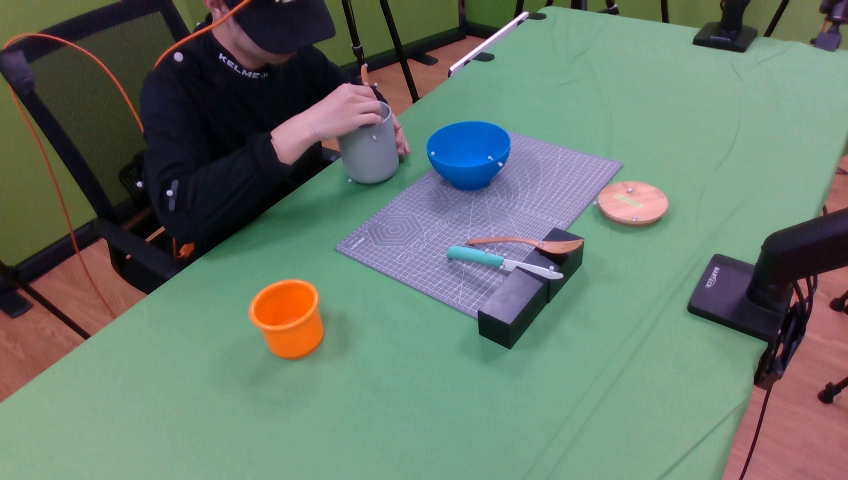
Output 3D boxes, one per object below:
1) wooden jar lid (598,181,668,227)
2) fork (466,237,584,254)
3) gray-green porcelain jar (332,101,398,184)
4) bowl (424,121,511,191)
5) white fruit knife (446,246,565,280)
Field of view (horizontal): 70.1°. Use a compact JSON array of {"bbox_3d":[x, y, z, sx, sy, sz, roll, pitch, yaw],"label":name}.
[{"bbox_3d":[0.340,-0.057,0.988,0.108,0.021,0.108,-5,41,5],"label":"wooden jar lid"},{"bbox_3d":[0.142,0.005,0.894,0.205,0.019,0.028,4,43,41],"label":"fork"},{"bbox_3d":[-0.105,-0.174,1.108,0.106,0.127,0.105,-4,40,4],"label":"gray-green porcelain jar"},{"bbox_3d":[0.081,-0.141,1.074,0.151,0.077,0.150,-4,41,4],"label":"bowl"},{"bbox_3d":[0.111,0.033,0.868,0.205,0.027,0.016,11,44,40],"label":"white fruit knife"}]
